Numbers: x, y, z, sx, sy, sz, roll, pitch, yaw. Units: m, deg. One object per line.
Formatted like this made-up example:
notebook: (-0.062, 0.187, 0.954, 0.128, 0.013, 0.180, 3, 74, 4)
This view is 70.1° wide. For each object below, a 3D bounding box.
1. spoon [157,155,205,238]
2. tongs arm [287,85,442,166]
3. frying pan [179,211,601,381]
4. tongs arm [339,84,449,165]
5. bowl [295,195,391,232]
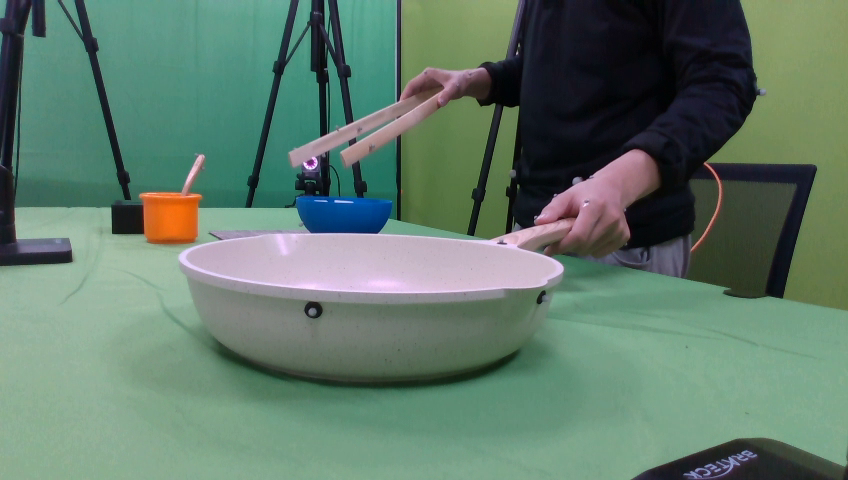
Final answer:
spoon: (-0.392, -0.076, 0.998, 0.041, 0.193, 0.021, 2, -37, 5)
tongs arm: (-0.086, -0.208, 1.055, 0.050, 0.026, 0.386, 2, 27, 36)
frying pan: (0.035, 0.019, 0.556, 0.490, 0.102, 0.305, -16, 19, -43)
tongs arm: (-0.037, -0.205, 1.022, 0.028, 0.028, 0.388, -5, 24, 31)
bowl: (-0.127, -0.028, 0.946, 0.151, 0.077, 0.151, 2, 7, 0)
